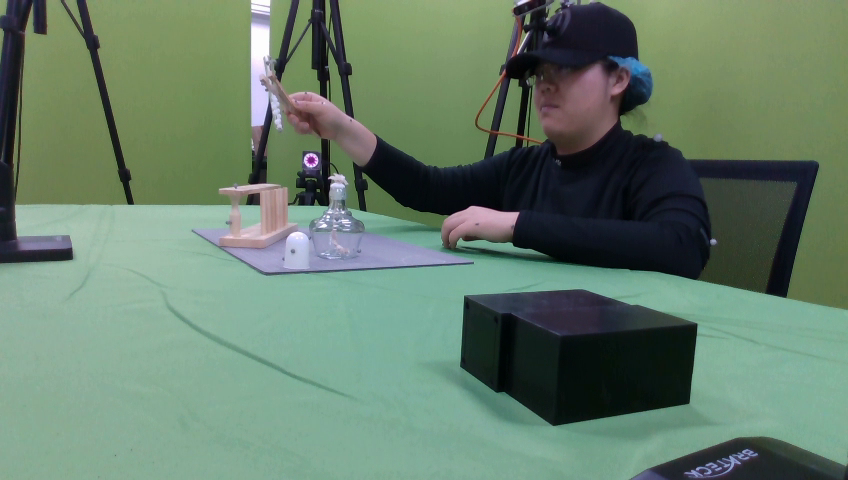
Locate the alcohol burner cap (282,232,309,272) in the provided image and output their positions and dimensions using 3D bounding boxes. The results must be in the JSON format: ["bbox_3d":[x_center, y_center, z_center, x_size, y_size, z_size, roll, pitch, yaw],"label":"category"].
[{"bbox_3d":[-0.157,0.014,0.740,0.034,0.048,0.034,3,6,0],"label":"alcohol burner cap"}]

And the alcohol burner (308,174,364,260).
[{"bbox_3d":[-0.121,-0.033,0.841,0.078,0.119,0.078,3,5,0],"label":"alcohol burner"}]

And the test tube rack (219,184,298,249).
[{"bbox_3d":[-0.266,-0.046,1.001,0.067,0.085,0.242,3,7,0],"label":"test tube rack"}]

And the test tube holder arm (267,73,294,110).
[{"bbox_3d":[-0.250,-0.258,1.059,0.010,0.015,0.088,-8,-29,11],"label":"test tube holder arm"}]

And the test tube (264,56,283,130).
[{"bbox_3d":[-0.257,-0.252,1.033,0.017,0.150,0.017,-12,-22,-5],"label":"test tube"}]

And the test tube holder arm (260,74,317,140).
[{"bbox_3d":[-0.242,-0.237,1.099,0.013,0.015,0.179,-11,-29,16],"label":"test tube holder arm"}]
